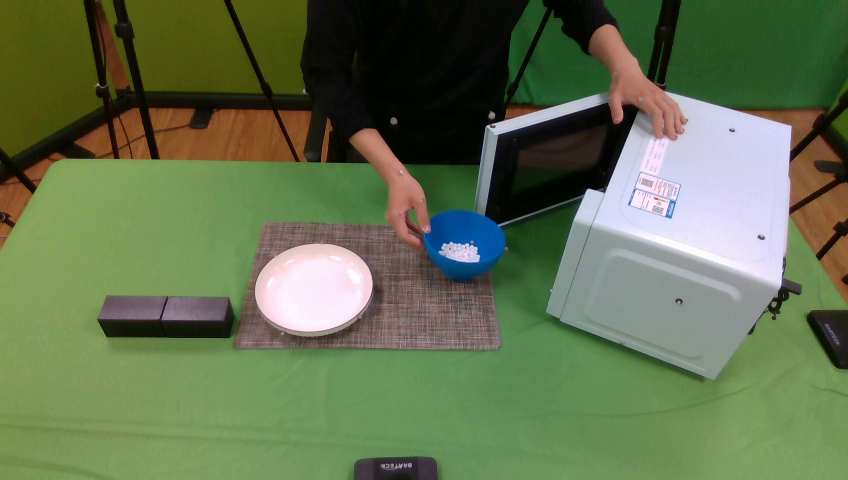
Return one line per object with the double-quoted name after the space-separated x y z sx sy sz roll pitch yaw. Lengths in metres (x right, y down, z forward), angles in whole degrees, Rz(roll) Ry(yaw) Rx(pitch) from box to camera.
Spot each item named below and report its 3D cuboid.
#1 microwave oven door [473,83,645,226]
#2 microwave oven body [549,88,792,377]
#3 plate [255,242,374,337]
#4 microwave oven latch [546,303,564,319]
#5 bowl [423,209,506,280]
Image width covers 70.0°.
0.264 -0.163 1.197 0.356 0.245 0.039 -19 50 -21 "microwave oven door"
0.456 -0.028 1.088 0.325 0.261 0.440 20 47 16 "microwave oven body"
-0.192 0.090 1.079 0.208 0.039 0.206 2 46 -2 "plate"
0.242 0.102 1.081 0.030 0.029 0.079 22 48 17 "microwave oven latch"
0.068 0.020 1.107 0.151 0.077 0.150 4 40 -3 "bowl"
